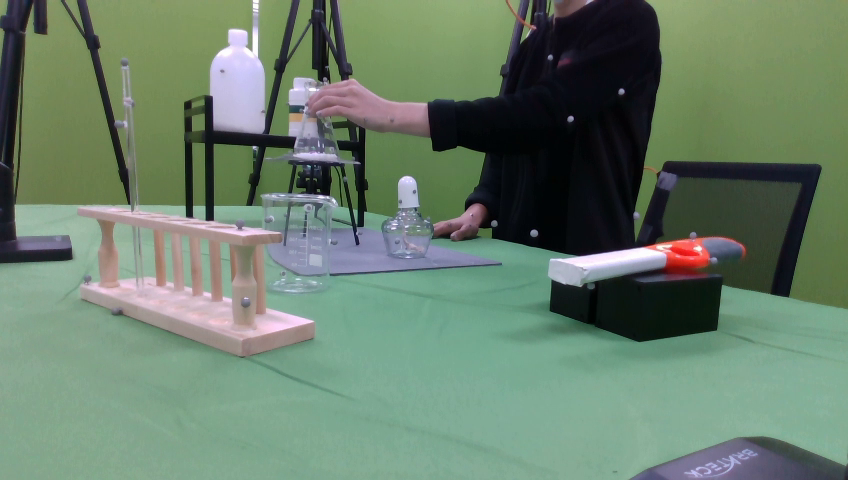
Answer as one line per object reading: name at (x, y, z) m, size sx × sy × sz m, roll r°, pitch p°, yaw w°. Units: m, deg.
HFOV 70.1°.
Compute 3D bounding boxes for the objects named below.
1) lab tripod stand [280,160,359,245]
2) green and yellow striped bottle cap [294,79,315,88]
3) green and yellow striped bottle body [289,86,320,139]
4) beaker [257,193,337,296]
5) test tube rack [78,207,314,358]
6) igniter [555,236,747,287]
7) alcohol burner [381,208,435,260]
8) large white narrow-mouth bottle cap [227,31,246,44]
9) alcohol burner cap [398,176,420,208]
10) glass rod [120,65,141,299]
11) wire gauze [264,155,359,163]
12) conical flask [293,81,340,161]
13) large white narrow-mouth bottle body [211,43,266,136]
lab tripod stand at (-0.176, -0.062, 0.973) m, size 0.148 × 0.131 × 0.148 m, roll 1°, pitch 7°, yaw 0°
green and yellow striped bottle cap at (-0.248, -0.323, 1.256) m, size 0.045 × 0.020 × 0.045 m, roll 3°, pitch 9°, yaw 0°
green and yellow striped bottle body at (-0.250, -0.272, 1.261) m, size 0.063 × 0.119 × 0.063 m, roll 3°, pitch 7°, yaw 0°
beaker at (-0.130, 0.004, 0.628) m, size 0.084 × 0.100 × 0.074 m, roll 5°, pitch 8°, yaw 15°
test tube rack at (-0.196, 0.023, 0.499) m, size 0.241 × 0.085 × 0.067 m, roll 8°, pitch 9°, yaw 37°
igniter at (0.221, 0.017, 0.558) m, size 0.278 × 0.025 × 0.057 m, roll -5°, pitch 15°, yaw -39°
alcohol burner at (-0.023, -0.032, 0.872) m, size 0.078 × 0.119 × 0.078 m, roll 0°, pitch 6°, yaw 0°
large white narrow-mouth bottle cap at (-0.361, -0.389, 1.165) m, size 0.038 × 0.024 × 0.037 m, roll 1°, pitch 7°, yaw 0°
alcohol burner cap at (-0.023, -0.068, 0.866) m, size 0.034 × 0.048 × 0.034 m, roll -5°, pitch 7°, yaw 1°
glass rod at (-0.249, -0.047, 0.513) m, size 0.008 × 0.199 × 0.008 m, roll -1°, pitch 4°, yaw 0°
wire gauze at (-0.181, -0.129, 0.969) m, size 0.126 × 0.011 × 0.121 m, roll -3°, pitch 7°, yaw -26°
conical flask at (-0.170, -0.187, 0.956) m, size 0.075 × 0.122 × 0.075 m, roll 1°, pitch 8°, yaw 0°
large white narrow-mouth bottle body at (-0.361, -0.302, 1.176) m, size 0.102 × 0.194 × 0.102 m, roll 1°, pitch 8°, yaw 0°
